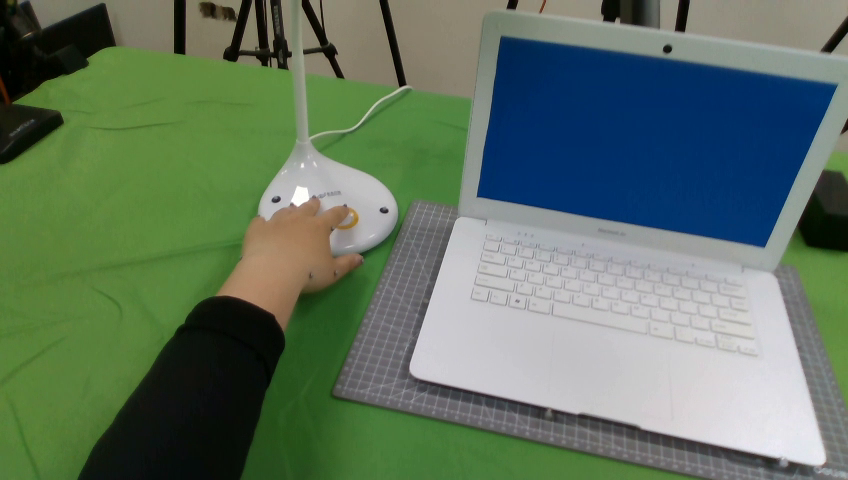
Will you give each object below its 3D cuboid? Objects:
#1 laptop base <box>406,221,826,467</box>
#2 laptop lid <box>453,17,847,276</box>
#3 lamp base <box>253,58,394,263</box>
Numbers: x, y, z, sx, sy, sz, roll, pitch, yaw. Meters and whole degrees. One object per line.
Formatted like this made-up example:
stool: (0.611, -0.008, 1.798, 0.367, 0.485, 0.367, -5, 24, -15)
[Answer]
laptop base: (0.178, 0.086, 0.597, 0.354, 0.023, 0.233, 10, 43, 7)
laptop lid: (0.214, -0.087, 0.624, 0.356, 0.243, 0.013, 9, 32, 8)
lamp base: (-0.119, -0.093, 0.662, 0.161, 0.182, 0.177, -25, 45, -31)
